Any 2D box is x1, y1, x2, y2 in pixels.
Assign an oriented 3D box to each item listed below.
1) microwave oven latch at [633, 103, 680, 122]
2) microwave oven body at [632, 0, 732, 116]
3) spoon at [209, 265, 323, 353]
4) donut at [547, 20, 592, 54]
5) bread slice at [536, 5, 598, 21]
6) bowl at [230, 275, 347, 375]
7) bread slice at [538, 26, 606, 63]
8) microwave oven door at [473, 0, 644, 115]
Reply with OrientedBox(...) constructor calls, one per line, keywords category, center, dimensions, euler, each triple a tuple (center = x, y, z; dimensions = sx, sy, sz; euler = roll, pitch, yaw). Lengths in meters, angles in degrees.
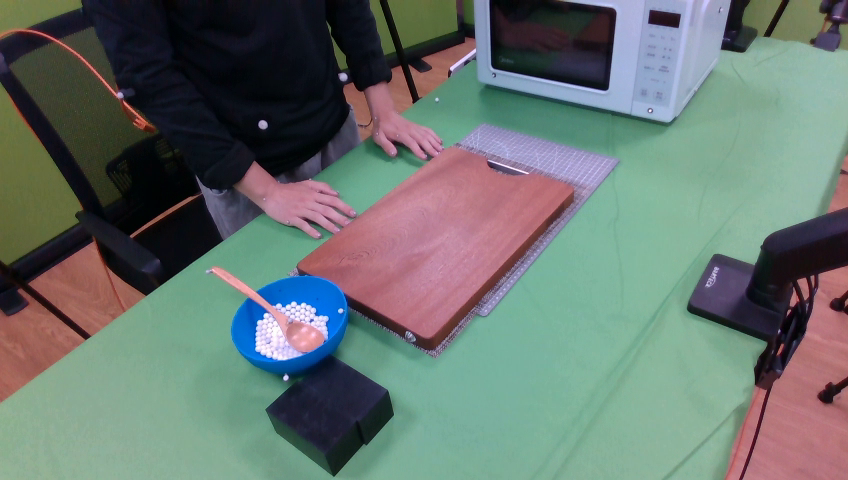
OrientedBox(category="microwave oven latch", center=(0.444, -0.249, 1.157), dimensions=(0.078, 0.029, 0.030), euler=(21, 48, 30))
OrientedBox(category="microwave oven body", center=(0.377, -0.462, 1.267), dimensions=(0.438, 0.261, 0.327), euler=(21, 48, 30))
OrientedBox(category="spoon", center=(-0.213, 0.087, 0.806), dimensions=(0.193, 0.021, 0.042), euler=(37, 57, 11))
OrientedBox(category="donut", center=(0.312, -0.437, 1.299), dimensions=(0.099, 0.048, 0.098), euler=(-20, 35, 16))
OrientedBox(category="bread slice", center=(0.307, -0.482, 1.278), dimensions=(0.106, 0.018, 0.134), euler=(12, 30, 24))
OrientedBox(category="bowl", center=(-0.171, 0.125, 0.802), dimensions=(0.151, 0.077, 0.150), euler=(-4, 40, 4))
OrientedBox(category="bread slice", center=(0.333, -0.437, 1.338), dimensions=(0.132, 0.019, 0.104), euler=(-39, 43, -21))
OrientedBox(category="microwave oven door", center=(0.257, -0.396, 1.199), dimensions=(0.353, 0.245, 0.039), euler=(21, 48, 29))
